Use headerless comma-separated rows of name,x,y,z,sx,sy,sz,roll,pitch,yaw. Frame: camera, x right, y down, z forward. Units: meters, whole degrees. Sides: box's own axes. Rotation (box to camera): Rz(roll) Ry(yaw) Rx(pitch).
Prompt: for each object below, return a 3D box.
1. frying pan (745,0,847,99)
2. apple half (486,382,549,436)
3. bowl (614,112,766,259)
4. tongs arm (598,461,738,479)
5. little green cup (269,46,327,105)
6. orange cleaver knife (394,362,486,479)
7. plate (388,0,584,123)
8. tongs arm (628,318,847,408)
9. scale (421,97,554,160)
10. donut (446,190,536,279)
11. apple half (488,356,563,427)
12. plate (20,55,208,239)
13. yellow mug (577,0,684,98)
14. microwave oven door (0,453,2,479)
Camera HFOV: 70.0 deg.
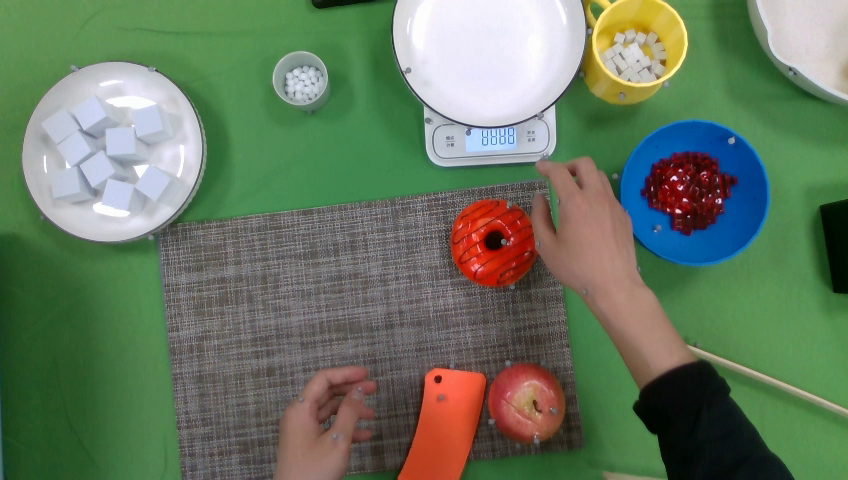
frying pan,0.543,-0.202,0.637,0.307,0.103,0.485,-34,79,1
apple half,0.091,0.184,0.638,0.081,0.081,0.033,36,84,4
bowl,0.271,-0.053,0.650,0.151,0.077,0.151,0,87,2
tongs arm,0.384,0.249,0.652,0.385,0.026,0.050,8,83,1
little green cup,-0.139,-0.184,0.687,0.061,0.039,0.061,0,86,2
orange cleaver knife,0.006,0.232,0.666,0.077,0.012,0.211,22,86,-3
plate,0.065,-0.227,0.654,0.209,0.038,0.208,0,87,1
tongs arm,0.405,0.165,0.660,0.387,0.028,0.028,23,80,2
scale,0.069,-0.194,0.685,0.148,0.031,0.200,-3,87,2
donut,0.073,-0.006,0.665,0.099,0.048,0.099,0,88,3
apple half,0.114,0.152,0.641,0.080,0.075,0.053,34,85,7
plate,-0.346,-0.103,0.688,0.207,0.039,0.207,0,87,1
yellow mug,0.214,-0.226,0.666,0.100,0.064,0.130,-40,86,0
microwave oven door,-0.489,0.223,0.554,0.039,0.244,0.355,-5,86,1
